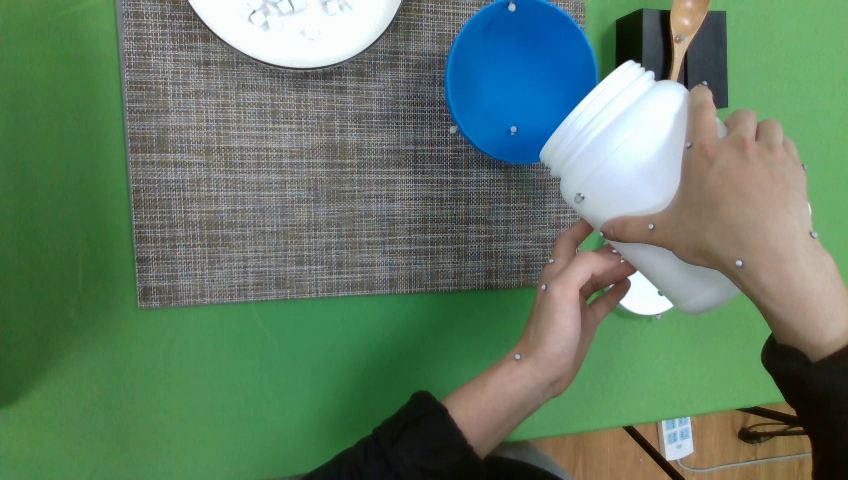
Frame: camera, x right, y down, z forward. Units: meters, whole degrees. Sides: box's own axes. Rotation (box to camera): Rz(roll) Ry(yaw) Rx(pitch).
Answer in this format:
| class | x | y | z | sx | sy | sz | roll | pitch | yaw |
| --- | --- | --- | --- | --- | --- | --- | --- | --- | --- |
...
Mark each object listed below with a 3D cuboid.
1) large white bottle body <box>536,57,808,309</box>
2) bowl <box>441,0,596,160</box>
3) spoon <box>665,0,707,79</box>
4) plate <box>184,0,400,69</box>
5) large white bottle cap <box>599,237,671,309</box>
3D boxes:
| class | x | y | z | sx | sy | sz | roll | pitch | yaw |
| --- | --- | --- | --- | --- | --- | --- | --- | --- | --- |
| large white bottle body | 0.196 | -0.049 | 0.502 | 0.130 | 0.131 | 0.184 | -44 | 82 | -7 |
| bowl | 0.081 | -0.152 | 0.590 | 0.152 | 0.076 | 0.151 | -2 | 97 | -15 |
| spoon | 0.249 | -0.168 | 0.620 | 0.042 | 0.021 | 0.194 | 10 | 99 | -18 |
| plate | -0.120 | -0.256 | 0.546 | 0.210 | 0.038 | 0.209 | -1 | 93 | -15 |
| large white bottle cap | 0.254 | 0.022 | 0.691 | 0.115 | 0.018 | 0.115 | -2 | 97 | -16 |
